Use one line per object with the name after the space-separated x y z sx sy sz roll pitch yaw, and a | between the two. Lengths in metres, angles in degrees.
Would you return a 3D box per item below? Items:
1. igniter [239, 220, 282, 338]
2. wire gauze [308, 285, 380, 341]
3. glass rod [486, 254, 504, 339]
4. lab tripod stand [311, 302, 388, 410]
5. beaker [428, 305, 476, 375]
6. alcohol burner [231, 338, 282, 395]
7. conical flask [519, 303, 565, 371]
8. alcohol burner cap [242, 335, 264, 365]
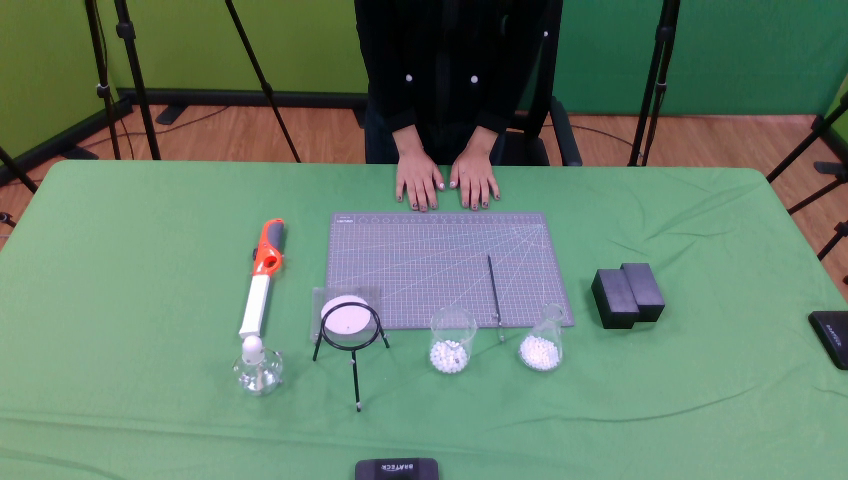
-0.298 0.061 1.113 0.057 0.025 0.274 -5 46 4 | igniter
-0.141 0.128 1.071 0.125 0.011 0.120 -1 46 -5 | wire gauze
0.129 0.099 1.119 0.008 0.008 0.198 -1 46 -4 | glass rod
-0.113 0.168 0.951 0.148 0.132 0.147 2 44 -2 | lab tripod stand
0.043 0.169 0.987 0.074 0.101 0.083 1 47 -3 | beaker
-0.260 0.186 0.935 0.078 0.119 0.077 3 44 -3 | alcohol burner
0.201 0.155 0.997 0.075 0.122 0.075 2 46 -2 | conical flask
-0.258 0.163 0.908 0.034 0.048 0.033 5 48 -6 | alcohol burner cap
